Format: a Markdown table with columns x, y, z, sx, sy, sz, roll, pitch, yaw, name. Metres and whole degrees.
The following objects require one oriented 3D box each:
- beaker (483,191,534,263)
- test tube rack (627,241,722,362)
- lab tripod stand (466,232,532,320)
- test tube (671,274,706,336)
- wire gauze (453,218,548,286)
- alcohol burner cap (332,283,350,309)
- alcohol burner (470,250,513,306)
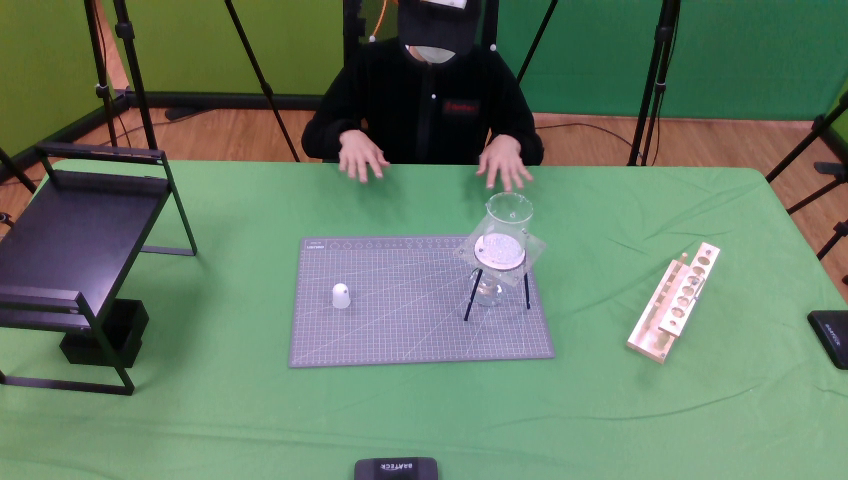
| x | y | z | sx | sy | sz | roll | pitch | yaw | name |
| --- | --- | --- | --- | --- | --- | --- | --- | --- | --- |
| 0.135 | -0.020 | 0.983 | 0.073 | 0.101 | 0.084 | 28 | 50 | 23 | beaker |
| 0.452 | 0.098 | 1.087 | 0.066 | 0.085 | 0.242 | 28 | 51 | 22 | test tube rack |
| 0.125 | 0.059 | 1.065 | 0.148 | 0.132 | 0.147 | 1 | 45 | 0 | lab tripod stand |
| 0.429 | 0.112 | 1.004 | 0.017 | 0.151 | 0.017 | 4 | 43 | -4 | test tube |
| 0.129 | 0.014 | 1.019 | 0.124 | 0.011 | 0.121 | 25 | 47 | 25 | wire gauze |
| -0.148 | 0.096 | 1.075 | 0.034 | 0.048 | 0.033 | 3 | 47 | -3 | alcohol burner cap |
| 0.121 | 0.062 | 1.076 | 0.078 | 0.120 | 0.077 | 1 | 47 | 0 | alcohol burner |
